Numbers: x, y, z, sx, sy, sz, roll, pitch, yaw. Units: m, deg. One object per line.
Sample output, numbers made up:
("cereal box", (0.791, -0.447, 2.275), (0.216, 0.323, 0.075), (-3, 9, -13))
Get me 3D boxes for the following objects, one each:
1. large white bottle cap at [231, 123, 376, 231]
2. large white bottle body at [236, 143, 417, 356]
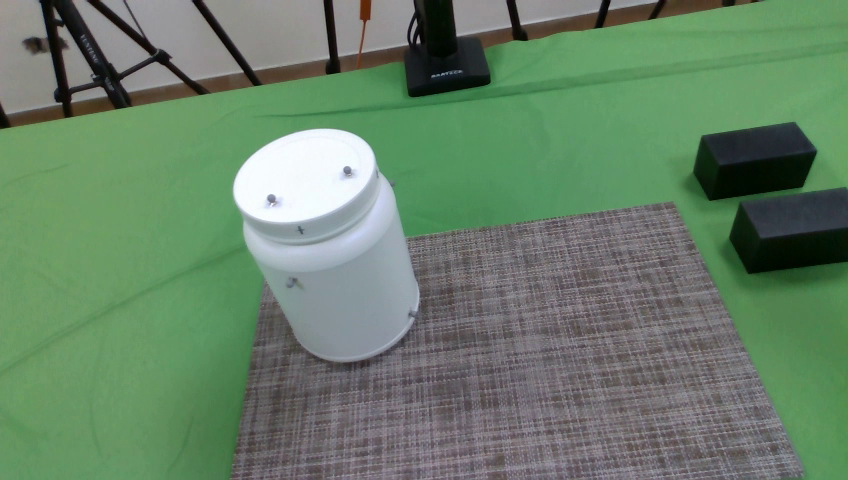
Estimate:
("large white bottle cap", (-0.096, -0.053, 0.482), (0.115, 0.018, 0.113), (-5, 47, 6))
("large white bottle body", (-0.083, 0.004, 0.544), (0.130, 0.186, 0.129), (-5, 47, 6))
